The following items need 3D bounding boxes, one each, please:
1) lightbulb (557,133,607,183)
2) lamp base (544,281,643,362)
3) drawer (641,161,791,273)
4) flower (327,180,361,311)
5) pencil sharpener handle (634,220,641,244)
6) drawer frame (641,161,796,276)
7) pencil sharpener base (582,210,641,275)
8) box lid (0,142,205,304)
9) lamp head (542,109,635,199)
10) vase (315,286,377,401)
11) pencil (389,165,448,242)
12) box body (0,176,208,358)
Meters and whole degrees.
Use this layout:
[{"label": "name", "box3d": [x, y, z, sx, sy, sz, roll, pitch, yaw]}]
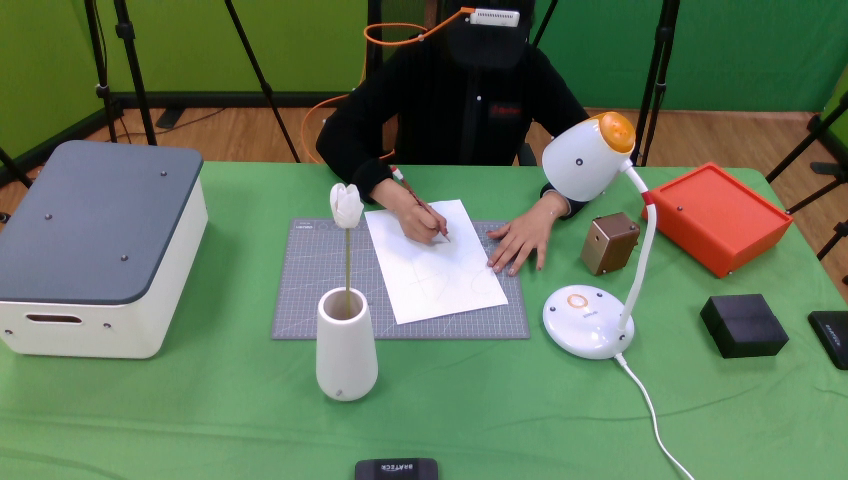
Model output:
[{"label": "lightbulb", "box3d": [0.243, -0.127, 0.917, 0.059, 0.108, 0.059, 6, 67, -14]}, {"label": "lamp base", "box3d": [0.303, 0.095, 1.014, 0.161, 0.181, 0.178, -24, 54, -24]}, {"label": "drawer", "box3d": [0.596, -0.051, 1.246, 0.194, 0.073, 0.210, -23, 52, -25]}, {"label": "flower", "box3d": [-0.110, 0.087, 0.867, 0.044, 0.363, 0.038, 22, 33, 36]}, {"label": "pencil sharpener handle", "box3d": [0.405, -0.015, 1.162, 0.031, 0.068, 0.035, -15, 45, -18]}, {"label": "drawer frame", "box3d": [0.599, -0.051, 1.244, 0.202, 0.083, 0.212, -24, 53, -25]}, {"label": "pencil sharpener base", "box3d": [0.357, 0.005, 1.156, 0.077, 0.107, 0.061, -15, 48, -18]}, {"label": "box lid", "box3d": [-0.534, -0.044, 0.995, 0.263, 0.015, 0.369, 3, 45, -3]}, {"label": "lamp head", "box3d": [0.253, -0.131, 0.893, 0.113, 0.123, 0.112, 10, 66, -24]}, {"label": "vase", "box3d": [-0.119, 0.159, 0.911, 0.098, 0.201, 0.097, 2, 47, -2]}, {"label": "pencil", "box3d": [-0.008, -0.068, 1.173, 0.012, 0.195, 0.012, -33, 20, 14]}, {"label": "box body", "box3d": [-0.546, 0.017, 1.045, 0.254, 0.161, 0.361, 2, 46, -2]}]
